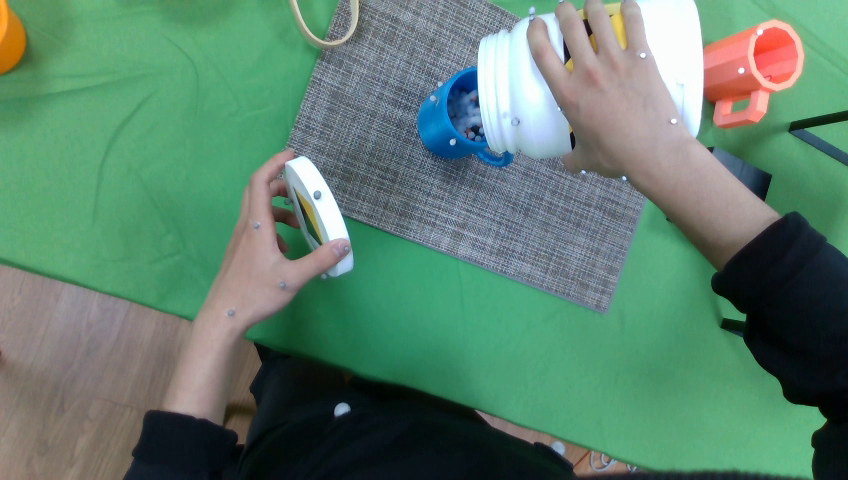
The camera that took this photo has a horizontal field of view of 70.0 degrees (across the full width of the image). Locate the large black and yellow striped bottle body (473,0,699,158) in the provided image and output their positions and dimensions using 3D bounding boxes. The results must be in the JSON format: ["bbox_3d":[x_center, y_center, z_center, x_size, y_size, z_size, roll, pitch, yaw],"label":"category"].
[{"bbox_3d":[0.146,-0.146,0.558,0.183,0.131,0.131,-3,93,17],"label":"large black and yellow striped bottle body"}]

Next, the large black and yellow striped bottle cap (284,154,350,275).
[{"bbox_3d":[-0.100,-0.023,0.559,0.019,0.114,0.115,-22,97,-20],"label":"large black and yellow striped bottle cap"}]

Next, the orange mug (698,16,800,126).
[{"bbox_3d":[0.412,-0.214,0.786,0.084,0.100,0.126,10,85,-16],"label":"orange mug"}]

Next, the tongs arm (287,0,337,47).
[{"bbox_3d":[-0.170,-0.391,0.621,0.051,0.026,0.386,-20,104,-18],"label":"tongs arm"}]

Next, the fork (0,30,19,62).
[{"bbox_3d":[-0.447,-0.223,0.509,0.028,0.018,0.209,-58,148,-8],"label":"fork"}]

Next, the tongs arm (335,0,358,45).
[{"bbox_3d":[-0.092,-0.410,0.646,0.028,0.027,0.388,-6,100,-24],"label":"tongs arm"}]

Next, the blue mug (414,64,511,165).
[{"bbox_3d":[0.052,-0.129,0.677,0.082,0.105,0.117,-45,103,-10],"label":"blue mug"}]
